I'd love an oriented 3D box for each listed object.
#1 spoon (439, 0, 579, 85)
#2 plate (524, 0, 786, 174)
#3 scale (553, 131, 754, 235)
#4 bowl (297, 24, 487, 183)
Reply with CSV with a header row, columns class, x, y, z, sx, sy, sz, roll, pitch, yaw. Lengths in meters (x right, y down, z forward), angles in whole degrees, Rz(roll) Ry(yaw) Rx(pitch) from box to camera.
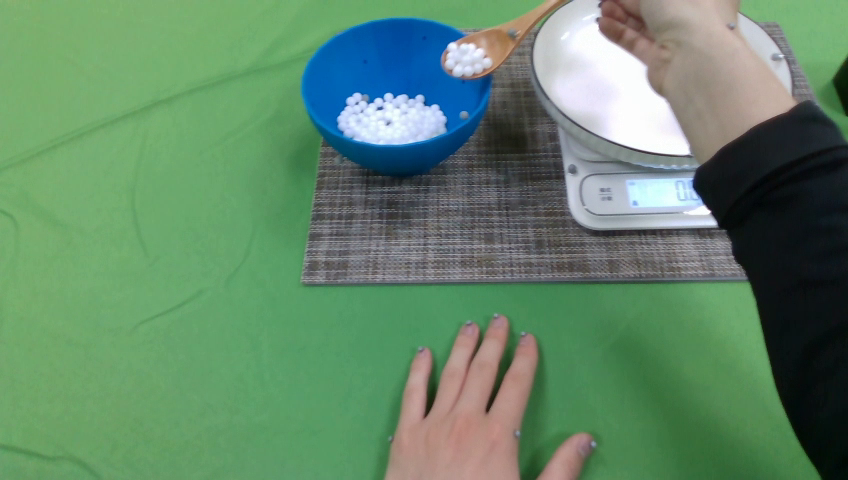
class,x,y,z,sx,sy,sz,roll,pitch,yaw
spoon,0.099,-0.169,0.444,0.193,0.022,0.041,-28,63,16
plate,0.186,-0.130,0.506,0.209,0.038,0.207,0,56,1
scale,0.186,-0.093,0.520,0.149,0.032,0.199,-1,56,1
bowl,-0.024,-0.101,0.506,0.151,0.077,0.150,-1,55,2
